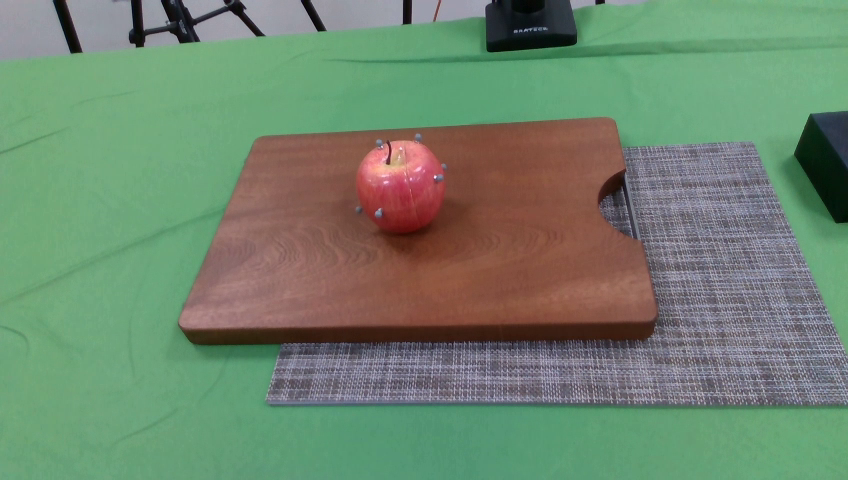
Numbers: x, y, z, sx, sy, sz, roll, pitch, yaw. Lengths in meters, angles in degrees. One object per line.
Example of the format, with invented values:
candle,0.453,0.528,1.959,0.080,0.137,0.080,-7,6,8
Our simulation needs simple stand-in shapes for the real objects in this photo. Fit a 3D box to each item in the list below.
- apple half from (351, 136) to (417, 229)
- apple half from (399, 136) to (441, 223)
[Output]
apple half,-0.038,-0.049,0.553,0.053,0.075,0.080,-12,51,4
apple half,0.000,-0.057,0.552,0.033,0.082,0.080,-12,47,4
